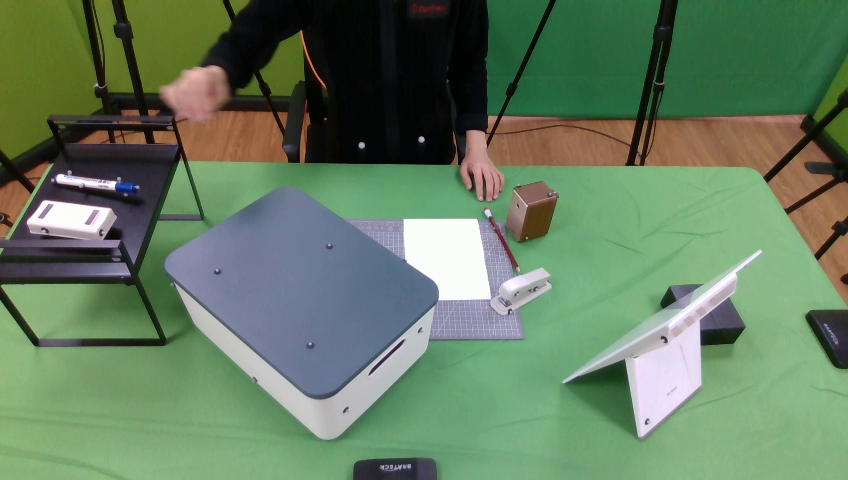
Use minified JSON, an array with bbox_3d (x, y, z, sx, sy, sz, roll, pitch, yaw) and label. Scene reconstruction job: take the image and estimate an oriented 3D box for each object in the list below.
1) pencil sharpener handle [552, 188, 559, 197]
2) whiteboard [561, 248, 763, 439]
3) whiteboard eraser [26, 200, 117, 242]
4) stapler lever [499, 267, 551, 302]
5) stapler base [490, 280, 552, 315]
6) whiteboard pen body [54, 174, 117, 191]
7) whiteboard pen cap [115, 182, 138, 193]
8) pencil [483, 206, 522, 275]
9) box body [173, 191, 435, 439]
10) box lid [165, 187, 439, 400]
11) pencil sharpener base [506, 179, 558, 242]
[{"bbox_3d":[0.261,-0.084,1.221,0.031,0.068,0.036,-16,66,-19],"label":"pencil sharpener handle"},{"bbox_3d":[0.386,0.176,0.905,0.217,0.306,0.143,-26,72,-27],"label":"whiteboard"},{"bbox_3d":[-0.532,-0.026,0.919,0.113,0.042,0.055,7,45,3],"label":"whiteboard eraser"},{"bbox_3d":[0.185,0.076,1.101,0.118,0.040,0.026,-25,57,-29],"label":"stapler lever"},{"bbox_3d":[0.181,0.094,1.118,0.130,0.024,0.041,-24,57,-29],"label":"stapler base"},{"bbox_3d":[-0.541,-0.093,0.993,0.140,0.017,0.017,7,46,9],"label":"whiteboard pen body"},{"bbox_3d":[-0.483,-0.086,0.984,0.033,0.018,0.018,7,46,10],"label":"whiteboard pen cap"},{"bbox_3d":[0.158,-0.002,1.218,0.012,0.012,0.192,-11,48,-14],"label":"pencil"},{"bbox_3d":[-0.191,0.110,0.979,0.362,0.161,0.254,33,53,24],"label":"box body"},{"bbox_3d":[-0.186,0.060,0.925,0.370,0.015,0.263,32,53,25],"label":"box lid"},{"bbox_3d":[0.216,-0.059,1.211,0.077,0.107,0.061,-16,49,-19],"label":"pencil sharpener base"}]
